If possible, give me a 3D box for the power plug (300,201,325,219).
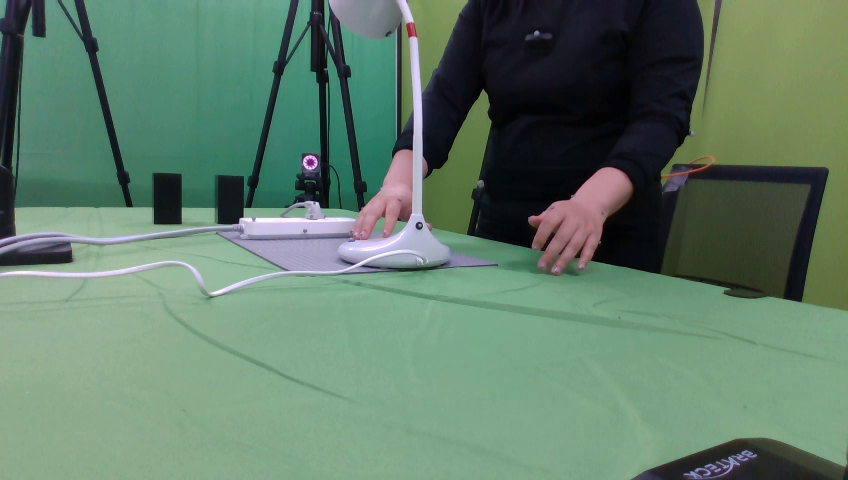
[{"bbox_3d":[-0.207,-0.046,1.120,0.035,0.052,0.072,1,4,-21],"label":"power plug"}]

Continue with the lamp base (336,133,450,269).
[{"bbox_3d":[-0.032,-0.057,0.830,0.161,0.180,0.178,-2,11,-34],"label":"lamp base"}]

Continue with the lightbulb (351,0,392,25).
[{"bbox_3d":[-0.069,-0.354,0.866,0.060,0.059,0.107,0,-20,-21],"label":"lightbulb"}]

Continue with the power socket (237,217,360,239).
[{"bbox_3d":[-0.220,-0.023,1.080,0.228,0.032,0.072,-2,8,-33],"label":"power socket"}]

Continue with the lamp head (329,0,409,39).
[{"bbox_3d":[-0.062,-0.357,0.841,0.113,0.112,0.122,-1,-14,-29],"label":"lamp head"}]
